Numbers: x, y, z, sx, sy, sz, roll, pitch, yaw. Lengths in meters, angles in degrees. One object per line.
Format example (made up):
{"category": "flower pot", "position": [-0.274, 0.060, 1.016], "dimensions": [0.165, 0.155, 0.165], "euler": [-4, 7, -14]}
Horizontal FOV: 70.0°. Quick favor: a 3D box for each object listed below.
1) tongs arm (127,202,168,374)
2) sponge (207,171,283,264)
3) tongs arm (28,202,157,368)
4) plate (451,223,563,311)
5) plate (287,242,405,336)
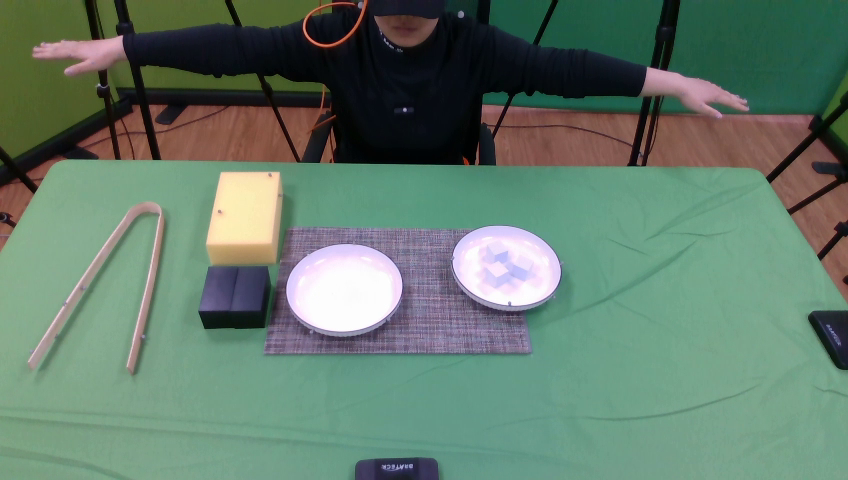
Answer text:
{"category": "tongs arm", "position": [-0.496, 0.070, 1.090], "dimensions": [0.028, 0.028, 0.385], "euler": [-6, 47, -6]}
{"category": "sponge", "position": [-0.346, -0.048, 1.191], "dimensions": [0.118, 0.061, 0.205], "euler": [-2, 46, -6]}
{"category": "tongs arm", "position": [-0.579, 0.064, 1.084], "dimensions": [0.051, 0.026, 0.382], "euler": [6, 45, 1]}
{"category": "plate", "position": [0.154, 0.053, 1.140], "dimensions": [0.209, 0.038, 0.208], "euler": [2, 47, -2]}
{"category": "plate", "position": [-0.138, 0.090, 1.084], "dimensions": [0.208, 0.039, 0.206], "euler": [2, 46, -2]}
